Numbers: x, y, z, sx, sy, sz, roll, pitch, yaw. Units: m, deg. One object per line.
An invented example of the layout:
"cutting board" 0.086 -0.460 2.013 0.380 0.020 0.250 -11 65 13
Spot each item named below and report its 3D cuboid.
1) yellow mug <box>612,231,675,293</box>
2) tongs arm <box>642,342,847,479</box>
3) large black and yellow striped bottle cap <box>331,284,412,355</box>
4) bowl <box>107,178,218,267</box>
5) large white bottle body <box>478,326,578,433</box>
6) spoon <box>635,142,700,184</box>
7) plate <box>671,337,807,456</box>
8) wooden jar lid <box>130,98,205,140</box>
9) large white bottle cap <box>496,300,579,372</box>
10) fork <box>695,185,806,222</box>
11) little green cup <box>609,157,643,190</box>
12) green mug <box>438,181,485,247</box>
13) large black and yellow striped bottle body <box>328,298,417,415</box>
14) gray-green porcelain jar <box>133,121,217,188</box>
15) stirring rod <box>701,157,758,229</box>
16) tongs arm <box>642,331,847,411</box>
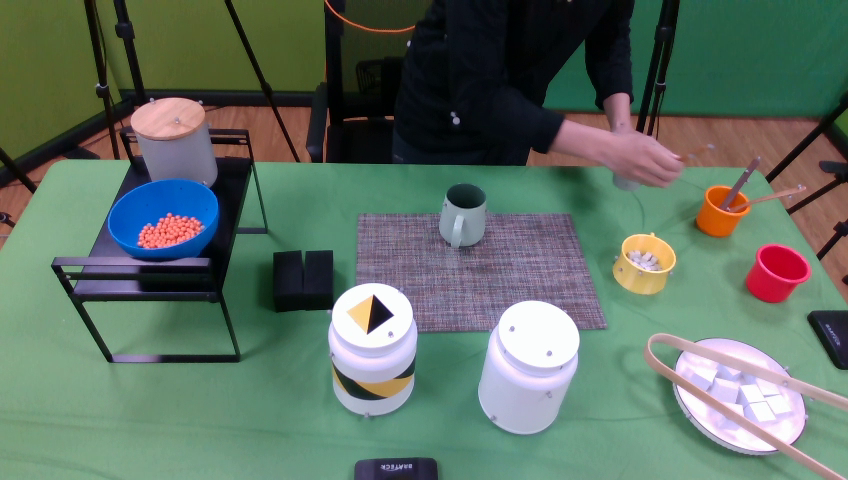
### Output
"yellow mug" 0.423 0.033 1.168 0.100 0.064 0.130 18 47 13
"tongs arm" 0.504 0.278 0.918 0.386 0.028 0.028 34 59 22
"large black and yellow striped bottle cap" -0.073 0.110 0.857 0.115 0.019 0.114 2 46 -2
"bowl" -0.374 -0.014 0.893 0.151 0.077 0.150 2 46 -2
"large white bottle body" 0.156 0.192 0.913 0.131 0.185 0.130 2 46 -2
"spoon" 0.410 -0.129 1.023 0.041 0.194 0.021 4 74 -4
"plate" 0.504 0.254 0.984 0.208 0.039 0.206 2 46 -2
"wooden jar lid" -0.393 -0.183 0.934 0.108 0.021 0.107 2 44 -2
"large white bottle cap" 0.159 0.133 0.852 0.115 0.018 0.114 3 46 -3
"fork" 0.658 -0.074 1.230 0.207 0.019 0.028 -23 36 37
"little green cup" 0.391 -0.129 1.182 0.061 0.039 0.061 3 47 -3
"green mug" 0.071 -0.039 1.177 0.092 0.105 0.124 12 47 7
"large black and yellow striped bottle body" -0.078 0.167 0.920 0.131 0.185 0.130 2 46 -2
"gray-green porcelain jar" -0.397 -0.141 0.980 0.106 0.127 0.105 2 47 -2
"stirring rod" 0.634 -0.097 1.257 0.014 0.006 0.176 38 97 29
"tongs arm" 0.546 0.227 0.968 0.384 0.026 0.050 22 52 13
